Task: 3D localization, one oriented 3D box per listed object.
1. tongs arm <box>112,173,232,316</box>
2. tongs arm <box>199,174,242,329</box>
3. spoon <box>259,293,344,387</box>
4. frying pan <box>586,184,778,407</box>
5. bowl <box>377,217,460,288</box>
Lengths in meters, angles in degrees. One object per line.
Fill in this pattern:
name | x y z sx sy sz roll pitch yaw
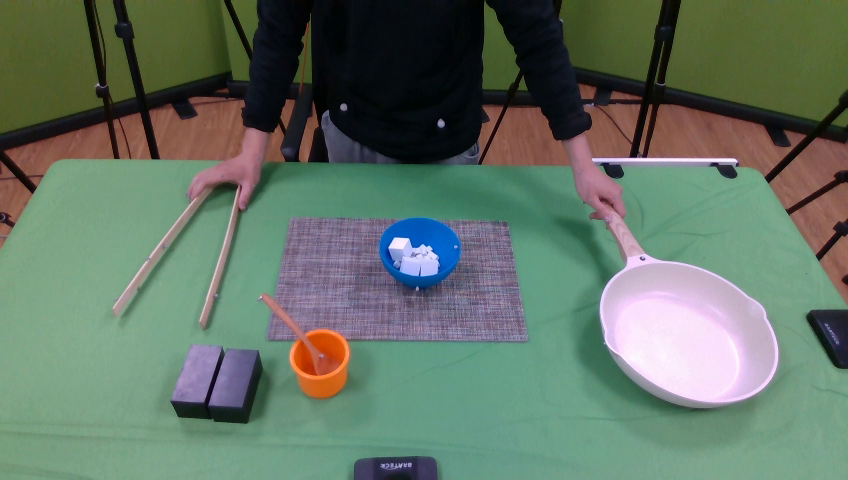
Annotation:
tongs arm | -0.467 -0.005 1.157 0.051 0.026 0.382 10 45 5
tongs arm | -0.387 0.007 1.157 0.028 0.028 0.385 -1 46 -2
spoon | -0.191 0.155 0.947 0.021 0.194 0.041 -13 28 50
frying pan | 0.412 0.079 1.097 0.307 0.103 0.484 -10 56 -14
bowl | -0.012 0.036 1.118 0.151 0.077 0.150 2 46 -2
